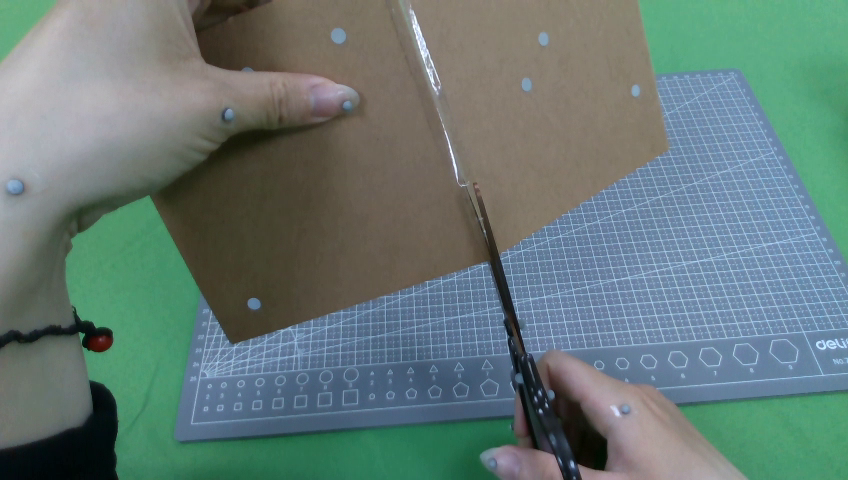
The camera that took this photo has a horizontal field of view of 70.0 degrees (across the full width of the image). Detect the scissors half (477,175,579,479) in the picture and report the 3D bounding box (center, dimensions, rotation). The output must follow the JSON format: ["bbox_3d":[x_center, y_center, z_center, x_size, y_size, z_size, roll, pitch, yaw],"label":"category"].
[{"bbox_3d":[0.048,0.053,0.280,0.013,0.040,0.175,-16,91,-4],"label":"scissors half"}]

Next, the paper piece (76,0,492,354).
[{"bbox_3d":[-0.057,-0.026,0.268,0.138,0.137,0.008,-20,17,5],"label":"paper piece"}]

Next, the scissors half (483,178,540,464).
[{"bbox_3d":[0.046,0.047,0.302,0.013,0.177,0.039,-15,33,1],"label":"scissors half"}]

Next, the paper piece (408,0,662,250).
[{"bbox_3d":[0.062,-0.080,0.284,0.136,0.136,0.004,-27,26,-23],"label":"paper piece"}]
